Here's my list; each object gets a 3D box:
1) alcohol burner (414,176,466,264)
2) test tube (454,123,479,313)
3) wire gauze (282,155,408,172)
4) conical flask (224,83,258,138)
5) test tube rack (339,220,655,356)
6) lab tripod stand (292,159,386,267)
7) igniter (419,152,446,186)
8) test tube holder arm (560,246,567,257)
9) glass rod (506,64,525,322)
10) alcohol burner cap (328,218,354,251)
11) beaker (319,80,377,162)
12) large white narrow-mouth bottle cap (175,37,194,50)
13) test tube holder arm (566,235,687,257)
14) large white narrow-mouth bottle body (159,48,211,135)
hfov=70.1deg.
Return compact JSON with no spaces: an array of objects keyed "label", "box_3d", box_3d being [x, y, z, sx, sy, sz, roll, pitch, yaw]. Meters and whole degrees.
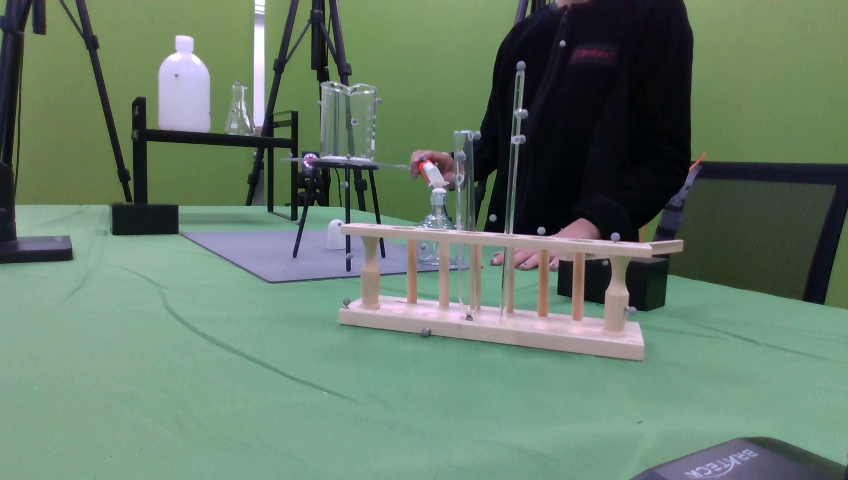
[{"label":"alcohol burner","box_3d":[0.021,-0.028,0.826,0.078,0.119,0.078,0,6,0]},{"label":"test tube","box_3d":[0.034,-0.016,0.477,0.017,0.150,0.017,-2,9,1]},{"label":"wire gauze","box_3d":[-0.104,-0.103,0.785,0.126,0.011,0.121,1,8,-39]},{"label":"conical flask","box_3d":[-0.422,-0.299,1.395,0.075,0.122,0.075,2,7,0]},{"label":"test tube rack","box_3d":[0.056,0.032,0.495,0.242,0.085,0.067,4,7,15]},{"label":"lab tripod stand","box_3d":[-0.105,-0.039,0.798,0.148,0.131,0.148,2,5,0]},{"label":"igniter","box_3d":[0.012,-0.113,0.970,0.025,0.057,0.276,-27,10,2]},{"label":"test tube holder arm","box_3d":[0.173,0.007,0.611,0.088,0.015,0.010,-3,9,-30]},{"label":"glass rod","box_3d":[0.069,-0.030,0.458,0.008,0.199,0.008,0,15,0]},{"label":"alcohol burner cap","box_3d":[-0.129,-0.011,0.928,0.034,0.048,0.034,-13,15,4]},{"label":"beaker","box_3d":[-0.098,-0.150,0.777,0.074,0.100,0.084,1,7,-7]},{"label":"large white narrow-mouth bottle cap","box_3d":[-0.501,-0.409,1.264,0.038,0.024,0.037,2,7,0]},{"label":"test tube holder arm","box_3d":[0.215,0.006,0.630,0.179,0.015,0.013,-3,9,-31]},{"label":"large white narrow-mouth bottle body","box_3d":[-0.503,-0.323,1.275,0.102,0.194,0.102,2,7,0]}]
